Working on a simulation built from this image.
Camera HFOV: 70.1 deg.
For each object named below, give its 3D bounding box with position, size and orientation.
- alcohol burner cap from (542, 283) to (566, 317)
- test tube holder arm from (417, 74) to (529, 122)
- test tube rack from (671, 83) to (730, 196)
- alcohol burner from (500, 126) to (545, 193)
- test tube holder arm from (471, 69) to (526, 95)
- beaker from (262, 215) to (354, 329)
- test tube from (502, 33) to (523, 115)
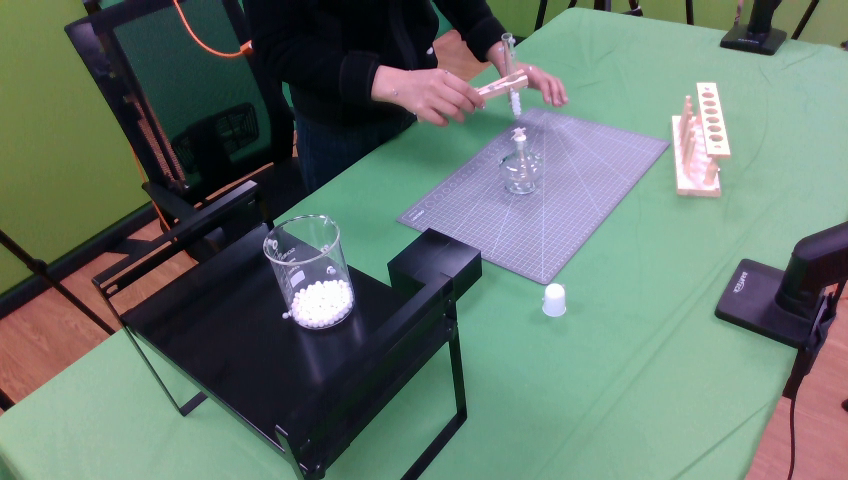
[{"bbox_3d":[0.181,0.080,0.839,0.034,0.048,0.033,-4,41,4],"label":"alcohol burner cap"},{"bbox_3d":[0.075,-0.219,0.933,0.178,0.015,0.013,-20,49,4],"label":"test tube holder arm"},{"bbox_3d":[0.482,-0.184,1.067,0.066,0.085,0.242,5,42,15],"label":"test tube rack"},{"bbox_3d":[0.168,-0.141,1.039,0.078,0.119,0.077,-6,41,6],"label":"alcohol burner"},{"bbox_3d":[0.116,-0.239,0.934,0.088,0.015,0.010,-24,49,0],"label":"test tube holder arm"},{"bbox_3d":[-0.112,0.034,0.616,0.073,0.101,0.084,13,44,22],"label":"beaker"},{"bbox_3d":[0.136,-0.249,0.925,0.017,0.151,0.017,-8,52,11],"label":"test tube"}]
